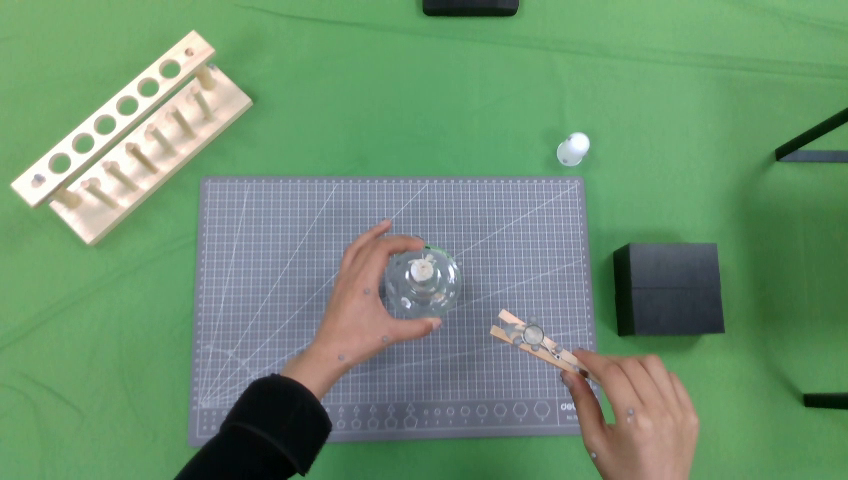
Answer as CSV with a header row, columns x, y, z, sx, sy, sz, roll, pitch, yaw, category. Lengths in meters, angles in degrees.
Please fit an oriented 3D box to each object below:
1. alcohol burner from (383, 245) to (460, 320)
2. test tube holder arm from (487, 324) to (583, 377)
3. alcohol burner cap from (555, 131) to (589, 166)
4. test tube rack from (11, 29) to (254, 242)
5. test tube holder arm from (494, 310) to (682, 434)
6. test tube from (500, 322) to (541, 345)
x,y,z,sx,sy,sz,roll,pitch,yaw,category
-0.002,0.038,0.600,0.078,0.119,0.077,0,75,-1,alcohol burner
0.095,0.094,0.513,0.087,0.015,0.010,24,88,5,test tube holder arm
0.178,-0.111,0.720,0.034,0.048,0.033,1,78,-4,alcohol burner cap
-0.307,-0.112,0.662,0.066,0.085,0.242,44,79,6,test tube rack
0.137,0.110,0.510,0.178,0.015,0.013,31,90,5,test tube holder arm
0.076,0.077,0.499,0.017,0.150,0.017,0,82,1,test tube
